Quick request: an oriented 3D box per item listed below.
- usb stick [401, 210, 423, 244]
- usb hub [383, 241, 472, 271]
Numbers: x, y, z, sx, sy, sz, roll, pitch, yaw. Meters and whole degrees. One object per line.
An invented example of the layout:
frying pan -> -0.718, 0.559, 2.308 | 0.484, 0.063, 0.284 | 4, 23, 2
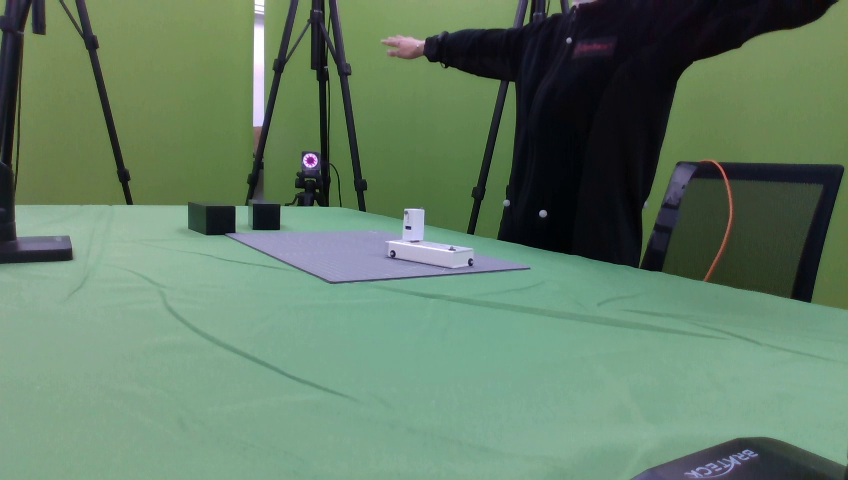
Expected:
usb stick -> -0.017, -0.013, 0.862 | 0.021, 0.059, 0.027 | 10, 12, 36
usb hub -> 0.003, 0.020, 0.842 | 0.124, 0.025, 0.050 | 8, 9, 39
